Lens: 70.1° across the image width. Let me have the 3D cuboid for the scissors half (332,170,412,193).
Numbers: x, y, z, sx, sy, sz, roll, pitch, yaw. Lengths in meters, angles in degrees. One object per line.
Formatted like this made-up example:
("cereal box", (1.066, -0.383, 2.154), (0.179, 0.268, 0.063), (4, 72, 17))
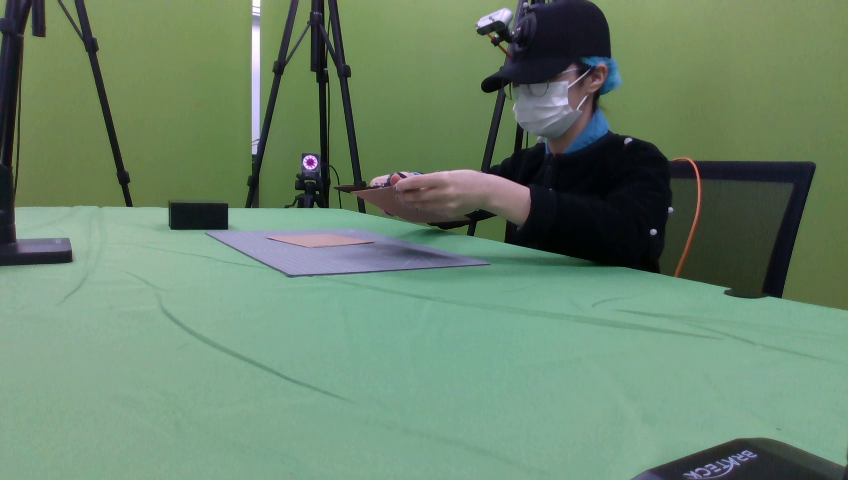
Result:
("scissors half", (-0.081, -0.091, 0.976), (0.013, 0.040, 0.176), (13, 16, 39))

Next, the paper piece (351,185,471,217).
("paper piece", (-0.021, -0.057, 0.920), (0.137, 0.008, 0.137), (2, -13, 45))

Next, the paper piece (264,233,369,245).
("paper piece", (-0.179, -0.005, 1.032), (0.136, 0.004, 0.135), (-3, 9, -43))

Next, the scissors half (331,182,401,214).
("scissors half", (-0.085, -0.072, 0.979), (0.012, 0.040, 0.176), (20, 3, 39))
